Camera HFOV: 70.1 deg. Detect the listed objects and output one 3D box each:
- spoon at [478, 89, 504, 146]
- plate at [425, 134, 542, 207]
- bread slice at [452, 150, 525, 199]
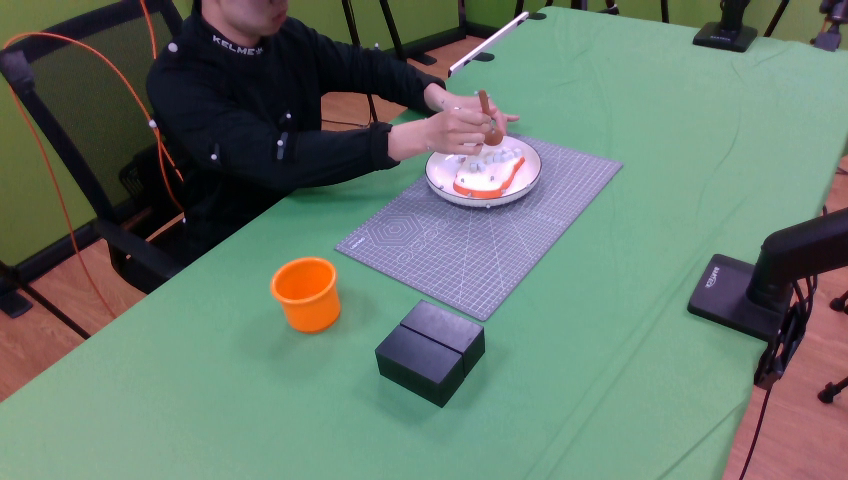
[{"bbox_3d":[0.110,-0.204,1.026,0.041,0.194,0.021,-3,77,11],"label":"spoon"},{"bbox_3d":[0.106,-0.121,1.079,0.209,0.038,0.208,-4,40,4],"label":"plate"},{"bbox_3d":[0.112,-0.118,1.079,0.104,0.019,0.131,11,43,21],"label":"bread slice"}]
